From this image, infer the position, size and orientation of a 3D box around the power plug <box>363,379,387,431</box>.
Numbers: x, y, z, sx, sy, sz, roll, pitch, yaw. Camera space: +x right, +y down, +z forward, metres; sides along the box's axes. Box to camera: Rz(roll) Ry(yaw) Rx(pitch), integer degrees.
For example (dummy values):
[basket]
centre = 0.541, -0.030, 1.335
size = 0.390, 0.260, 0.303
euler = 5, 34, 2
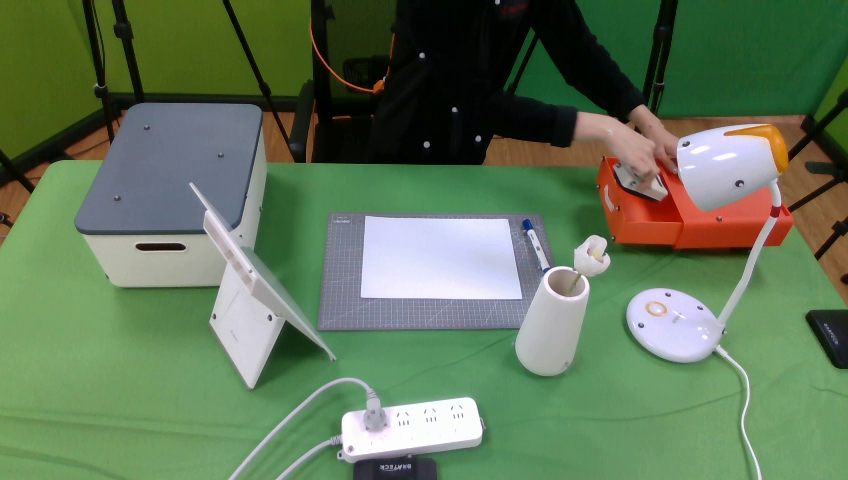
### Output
[power plug]
centre = -0.072, 0.252, 0.910
size = 0.035, 0.053, 0.072
euler = 3, 44, -1

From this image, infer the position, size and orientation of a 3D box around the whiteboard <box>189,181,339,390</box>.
[whiteboard]
centre = -0.292, 0.096, 0.929
size = 0.144, 0.307, 0.216
euler = -37, 57, -10

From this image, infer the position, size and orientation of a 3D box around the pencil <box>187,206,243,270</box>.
[pencil]
centre = -0.401, -0.008, 1.176
size = 0.012, 0.012, 0.193
euler = 15, 44, 10

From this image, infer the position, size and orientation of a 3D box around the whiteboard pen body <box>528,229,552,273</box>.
[whiteboard pen body]
centre = 0.224, 0.013, 1.197
size = 0.017, 0.017, 0.140
euler = -5, 45, -9

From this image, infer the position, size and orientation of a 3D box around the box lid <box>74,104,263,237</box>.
[box lid]
centre = -0.443, -0.139, 1.095
size = 0.263, 0.015, 0.369
euler = -1, 45, -5

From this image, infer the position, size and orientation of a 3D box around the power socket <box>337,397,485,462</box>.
[power socket]
centre = -0.018, 0.285, 0.915
size = 0.227, 0.033, 0.071
euler = -5, 46, -8

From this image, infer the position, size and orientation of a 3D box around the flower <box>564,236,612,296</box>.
[flower]
centre = 0.206, 0.088, 0.892
size = 0.038, 0.363, 0.044
euler = -17, 67, -10

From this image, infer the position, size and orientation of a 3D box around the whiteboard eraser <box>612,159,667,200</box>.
[whiteboard eraser]
centre = 0.404, -0.112, 1.146
size = 0.113, 0.042, 0.055
euler = 14, 50, -31

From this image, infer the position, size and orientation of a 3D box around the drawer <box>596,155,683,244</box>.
[drawer]
centre = 0.468, -0.082, 1.211
size = 0.212, 0.073, 0.193
euler = 3, 45, -3

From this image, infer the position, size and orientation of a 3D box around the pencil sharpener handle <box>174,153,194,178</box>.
[pencil sharpener handle]
centre = -0.479, -0.156, 1.225
size = 0.036, 0.068, 0.030
euler = 24, 47, 2

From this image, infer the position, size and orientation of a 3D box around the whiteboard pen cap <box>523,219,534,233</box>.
[whiteboard pen cap]
centre = 0.214, -0.027, 1.238
size = 0.018, 0.018, 0.033
euler = -5, 45, -9

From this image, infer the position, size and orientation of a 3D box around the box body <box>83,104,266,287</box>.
[box body]
centre = -0.447, -0.088, 1.150
size = 0.254, 0.161, 0.361
euler = -1, 46, -5

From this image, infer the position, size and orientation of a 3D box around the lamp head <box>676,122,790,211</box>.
[lamp head]
centre = 0.423, -0.104, 0.819
size = 0.122, 0.113, 0.112
euler = -13, 33, 40

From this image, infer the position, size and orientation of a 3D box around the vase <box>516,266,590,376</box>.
[vase]
centre = 0.208, 0.132, 0.964
size = 0.098, 0.201, 0.097
euler = 3, 46, -3

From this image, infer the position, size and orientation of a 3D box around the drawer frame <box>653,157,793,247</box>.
[drawer frame]
centre = 0.579, -0.080, 1.215
size = 0.214, 0.083, 0.200
euler = -1, 45, -1

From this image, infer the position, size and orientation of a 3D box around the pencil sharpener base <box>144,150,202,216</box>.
[pencil sharpener base]
centre = -0.493, -0.113, 1.199
size = 0.061, 0.107, 0.076
euler = 15, 46, 12

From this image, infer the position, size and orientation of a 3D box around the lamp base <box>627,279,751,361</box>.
[lamp base]
centre = 0.460, 0.100, 1.027
size = 0.178, 0.181, 0.160
euler = 27, 51, 17
